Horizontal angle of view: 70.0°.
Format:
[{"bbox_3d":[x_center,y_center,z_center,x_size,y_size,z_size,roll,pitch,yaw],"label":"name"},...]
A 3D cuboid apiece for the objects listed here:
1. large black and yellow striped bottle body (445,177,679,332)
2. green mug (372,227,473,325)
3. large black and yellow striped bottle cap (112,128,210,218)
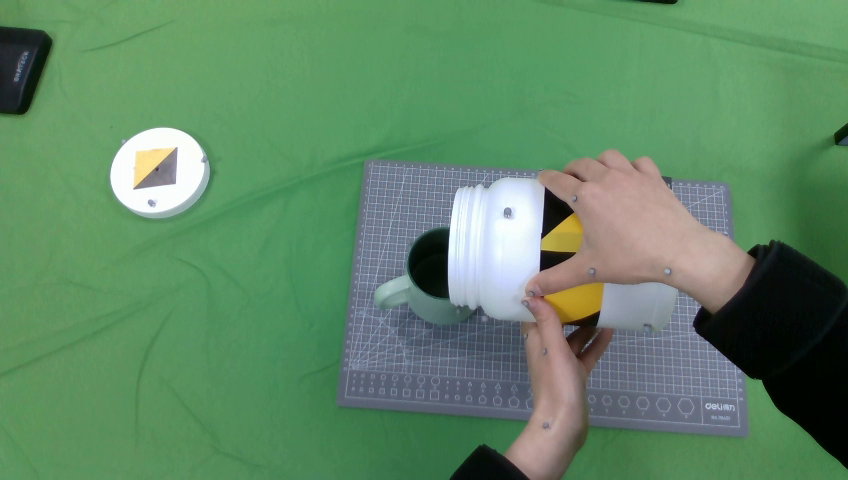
[{"bbox_3d":[0.117,0.011,0.539,0.183,0.131,0.130,3,72,9],"label":"large black and yellow striped bottle body"},{"bbox_3d":[0.004,0.046,0.653,0.125,0.105,0.092,-21,73,-6],"label":"green mug"},{"bbox_3d":[-0.322,-0.083,0.741,0.115,0.019,0.114,0,71,0],"label":"large black and yellow striped bottle cap"}]
